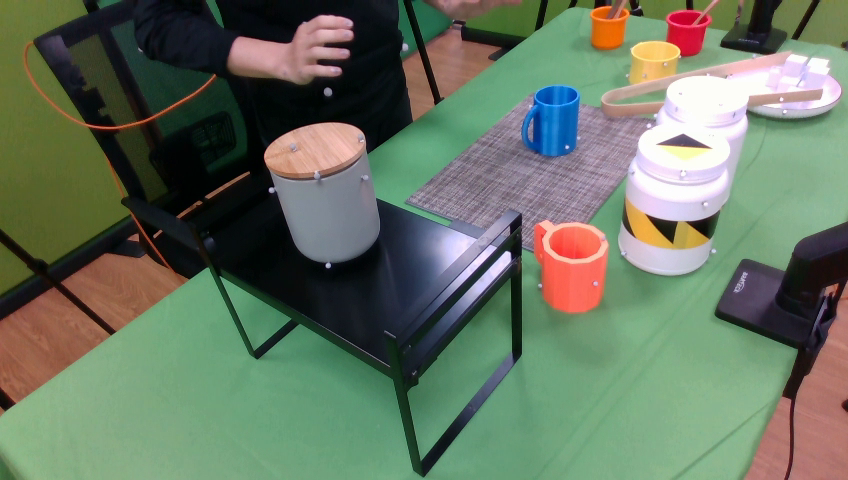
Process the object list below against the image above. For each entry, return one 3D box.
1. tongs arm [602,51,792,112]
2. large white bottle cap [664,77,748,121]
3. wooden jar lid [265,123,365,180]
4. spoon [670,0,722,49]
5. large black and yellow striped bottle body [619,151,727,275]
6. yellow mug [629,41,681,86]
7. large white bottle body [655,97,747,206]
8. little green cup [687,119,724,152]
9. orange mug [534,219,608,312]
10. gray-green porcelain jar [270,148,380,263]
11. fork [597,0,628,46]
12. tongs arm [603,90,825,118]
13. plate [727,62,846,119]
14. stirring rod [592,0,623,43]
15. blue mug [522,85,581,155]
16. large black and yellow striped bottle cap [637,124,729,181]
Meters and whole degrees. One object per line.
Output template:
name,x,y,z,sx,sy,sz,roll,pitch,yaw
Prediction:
tongs arm,0.552,-0.320,1.224,0.384,0.027,0.050,-10,43,7
large white bottle cap,0.421,-0.212,0.905,0.115,0.018,0.114,-4,40,4
wooden jar lid,-0.115,-0.092,0.651,0.108,0.021,0.108,-5,38,4
spoon,0.639,-0.510,1.380,0.193,0.022,0.041,-49,40,19
large black and yellow striped bottle body,0.354,-0.056,0.865,0.131,0.185,0.130,-4,41,4
yellow mug,0.494,-0.389,1.321,0.100,0.064,0.130,-14,40,-6
large white bottle body,0.430,-0.148,0.959,0.130,0.185,0.130,-4,41,4
little green cup,0.513,-0.191,1.109,0.061,0.039,0.061,-5,40,5
orange mug,0.200,0.027,0.858,0.084,0.101,0.125,-24,47,-18
gray-green porcelain jar,-0.109,-0.045,0.692,0.106,0.127,0.105,-4,40,4
fork,0.479,-0.558,1.455,0.028,0.019,0.207,35,100,38
tongs arm,0.546,-0.262,1.163,0.386,0.028,0.028,-1,49,18
plate,0.709,-0.292,1.197,0.207,0.039,0.206,-4,40,4
stirring rod,0.460,-0.557,1.461,0.014,0.176,0.006,35,11,22
blue mug,0.233,-0.218,1.127,0.117,0.106,0.081,-23,43,-16
large black and yellow striped bottle cap,0.346,-0.119,0.810,0.115,0.019,0.114,-5,41,5
